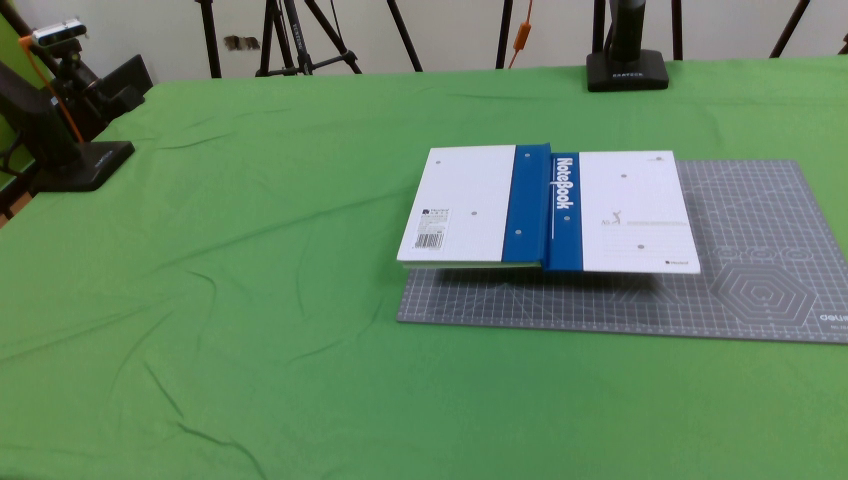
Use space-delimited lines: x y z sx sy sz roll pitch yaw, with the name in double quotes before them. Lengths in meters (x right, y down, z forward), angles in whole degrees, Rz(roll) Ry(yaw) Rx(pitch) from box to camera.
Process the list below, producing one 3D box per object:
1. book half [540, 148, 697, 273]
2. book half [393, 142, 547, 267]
"book half" 0.199 -0.039 0.646 0.143 0.007 0.208 1 41 12
"book half" 0.059 -0.046 0.670 0.148 0.016 0.208 0 42 13
